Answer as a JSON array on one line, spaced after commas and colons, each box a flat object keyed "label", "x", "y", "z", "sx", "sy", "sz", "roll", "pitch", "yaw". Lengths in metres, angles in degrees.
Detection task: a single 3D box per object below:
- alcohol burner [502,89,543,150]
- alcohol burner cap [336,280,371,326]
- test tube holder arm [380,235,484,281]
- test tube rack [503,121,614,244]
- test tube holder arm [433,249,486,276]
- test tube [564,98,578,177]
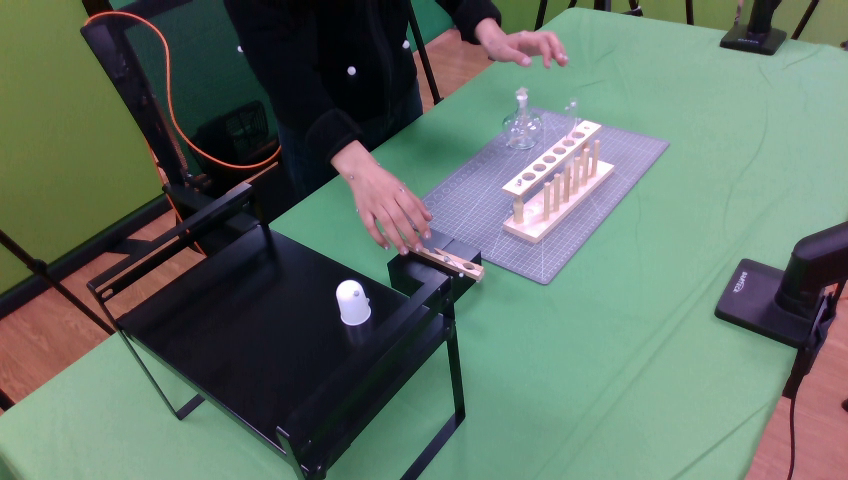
[{"label": "alcohol burner", "x": 0.186, "y": -0.233, "z": 1.147, "sx": 0.078, "sy": 0.119, "sz": 0.077, "roll": -5, "pitch": 42, "yaw": 5}, {"label": "alcohol burner cap", "x": -0.073, "y": 0.061, "z": 0.619, "sx": 0.034, "sy": 0.048, "sz": 0.033, "roll": -4, "pitch": 41, "yaw": 4}, {"label": "test tube holder arm", "x": 0.008, "y": 0.024, "z": 0.877, "sx": 0.177, "sy": 0.015, "sz": 0.013, "roll": 18, "pitch": 51, "yaw": 29}, {"label": "test tube rack", "x": 0.230, "y": -0.102, "z": 1.006, "sx": 0.066, "sy": 0.085, "sz": 0.243, "roll": 26, "pitch": 51, "yaw": 34}, {"label": "test tube holder arm", "x": 0.048, "y": 0.033, "z": 0.858, "sx": 0.087, "sy": 0.015, "sz": 0.010, "roll": 19, "pitch": 51, "yaw": 30}, {"label": "test tube", "x": 0.244, "y": -0.166, "z": 1.004, "sx": 0.017, "sy": 0.151, "sz": 0.017, "roll": -5, "pitch": 42, "yaw": 5}]
